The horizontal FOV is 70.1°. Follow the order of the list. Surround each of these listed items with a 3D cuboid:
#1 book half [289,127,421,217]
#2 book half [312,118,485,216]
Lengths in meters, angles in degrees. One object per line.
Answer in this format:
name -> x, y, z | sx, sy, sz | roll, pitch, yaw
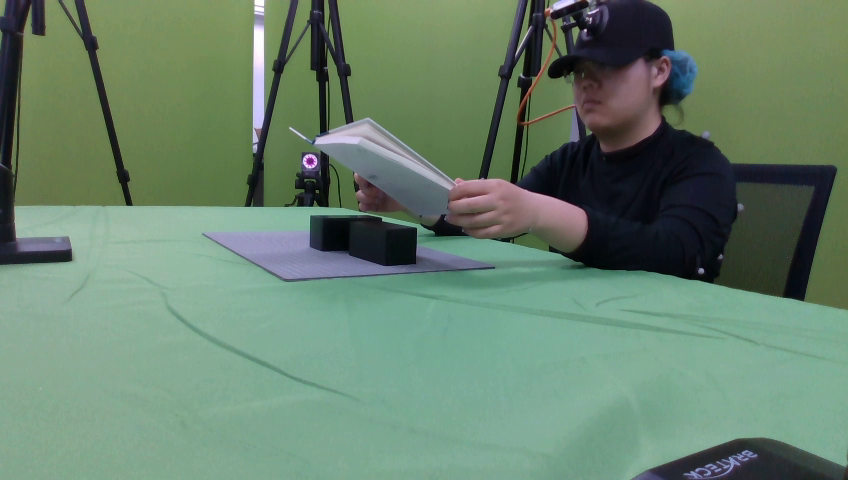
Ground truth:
book half -> -0.108, -0.107, 0.945 | 0.211, 0.007, 0.142 | 32, 3, -31
book half -> -0.034, -0.091, 0.828 | 0.211, 0.016, 0.148 | 34, -19, -31
